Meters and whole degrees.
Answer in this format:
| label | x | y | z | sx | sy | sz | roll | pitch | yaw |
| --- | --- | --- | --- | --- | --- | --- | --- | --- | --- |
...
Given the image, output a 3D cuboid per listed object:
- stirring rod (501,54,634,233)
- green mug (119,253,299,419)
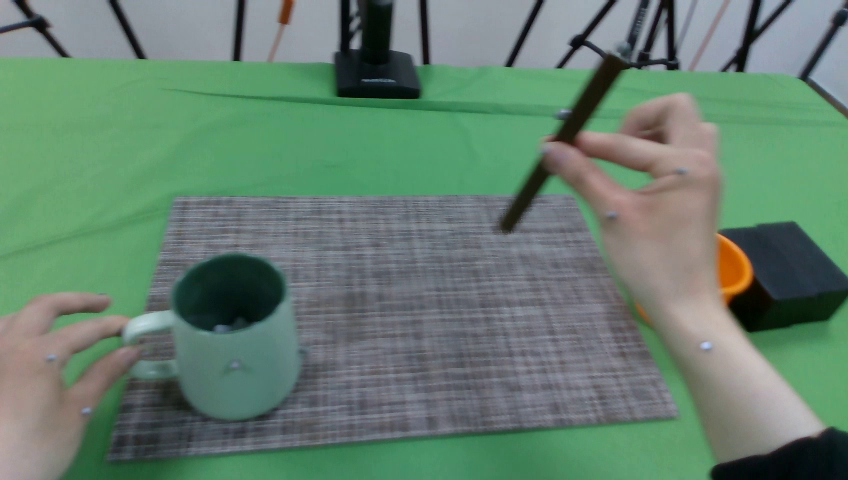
| label | x | y | z | sx | sy | sz | roll | pitch | yaw |
| --- | --- | --- | --- | --- | --- | --- | --- | --- | --- |
| stirring rod | 0.084 | -0.051 | 0.388 | 0.014 | 0.177 | 0.006 | 27 | 58 | 1 |
| green mug | -0.159 | 0.076 | 0.454 | 0.126 | 0.106 | 0.091 | -9 | 45 | -18 |
